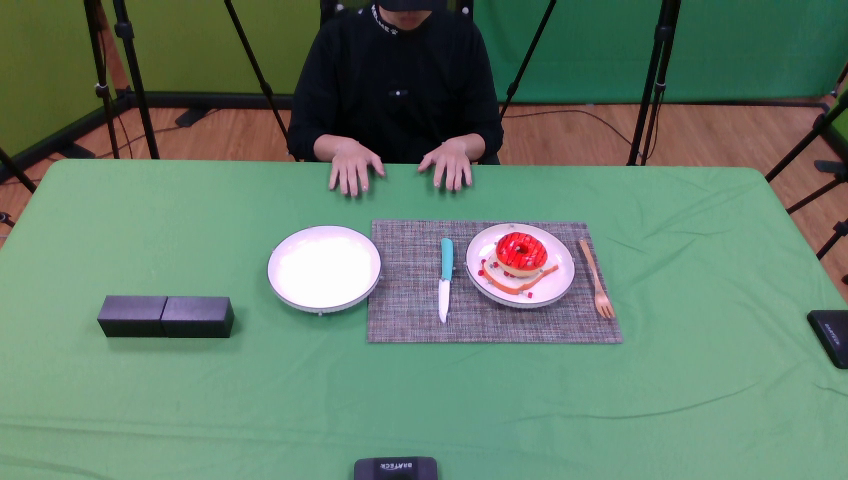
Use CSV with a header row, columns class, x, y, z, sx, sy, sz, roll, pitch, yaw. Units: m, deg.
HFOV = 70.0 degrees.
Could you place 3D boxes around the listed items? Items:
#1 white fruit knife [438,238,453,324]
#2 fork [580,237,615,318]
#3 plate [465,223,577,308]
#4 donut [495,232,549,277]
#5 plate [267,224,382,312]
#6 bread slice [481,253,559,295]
class,x,y,z,sx,sy,sz,roll,pitch,yaw
white fruit knife,0.040,0.073,1.131,0.027,0.016,0.206,-17,44,21
fork,0.325,0.067,1.150,0.028,0.019,0.206,-6,48,1
plate,0.180,0.051,1.144,0.209,0.038,0.208,2,45,-2
donut,0.180,0.026,1.119,0.099,0.048,0.098,2,46,-2
plate,-0.182,0.055,1.120,0.208,0.039,0.206,2,46,-2
bread slice,0.177,0.050,1.148,0.131,0.019,0.104,-32,55,-31
